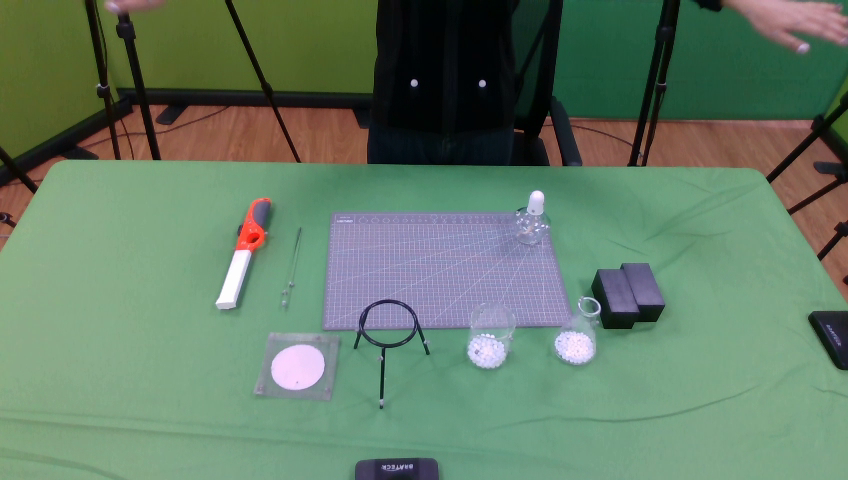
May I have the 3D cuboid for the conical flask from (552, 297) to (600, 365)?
[{"bbox_3d":[0.261,0.147,1.010,0.075,0.122,0.075,2,46,-2],"label":"conical flask"}]

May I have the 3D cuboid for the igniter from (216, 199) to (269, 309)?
[{"bbox_3d":[-0.342,0.016,1.153,0.057,0.025,0.275,-3,45,7],"label":"igniter"}]

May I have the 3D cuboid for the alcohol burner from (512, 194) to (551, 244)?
[{"bbox_3d":[0.215,-0.048,1.196,0.078,0.119,0.077,4,46,-4],"label":"alcohol burner"}]

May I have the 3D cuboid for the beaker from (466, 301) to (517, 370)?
[{"bbox_3d":[0.106,0.162,0.998,0.084,0.101,0.073,-31,55,-29],"label":"beaker"}]

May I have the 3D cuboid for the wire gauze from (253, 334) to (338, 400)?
[{"bbox_3d":[-0.209,0.204,0.996,0.125,0.011,0.120,3,45,1],"label":"wire gauze"}]

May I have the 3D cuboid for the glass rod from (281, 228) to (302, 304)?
[{"bbox_3d":[-0.250,0.045,1.146,0.008,0.008,0.198,2,43,-1],"label":"glass rod"}]

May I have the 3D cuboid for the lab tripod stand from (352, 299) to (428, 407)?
[{"bbox_3d":[-0.056,0.166,0.958,0.148,0.132,0.147,3,44,-2],"label":"lab tripod stand"}]

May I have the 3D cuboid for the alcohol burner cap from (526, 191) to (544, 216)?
[{"bbox_3d":[0.216,-0.073,1.170,0.034,0.048,0.033,0,42,1],"label":"alcohol burner cap"}]
